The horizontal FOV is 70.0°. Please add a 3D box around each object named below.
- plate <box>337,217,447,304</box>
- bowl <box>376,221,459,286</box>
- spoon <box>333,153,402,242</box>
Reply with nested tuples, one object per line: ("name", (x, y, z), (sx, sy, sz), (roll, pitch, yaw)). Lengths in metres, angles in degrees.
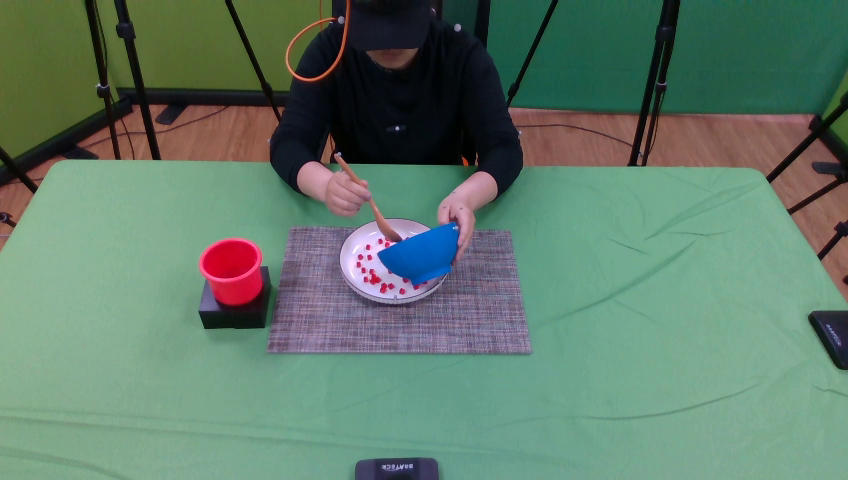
("plate", (-0.058, 0.042, 1.136), (0.208, 0.039, 0.206), (2, 46, -2))
("bowl", (0.000, 0.030, 1.051), (0.151, 0.151, 0.076), (-20, 87, -21))
("spoon", (-0.098, -0.071, 1.049), (0.021, 0.194, 0.041), (-41, 18, -27))
